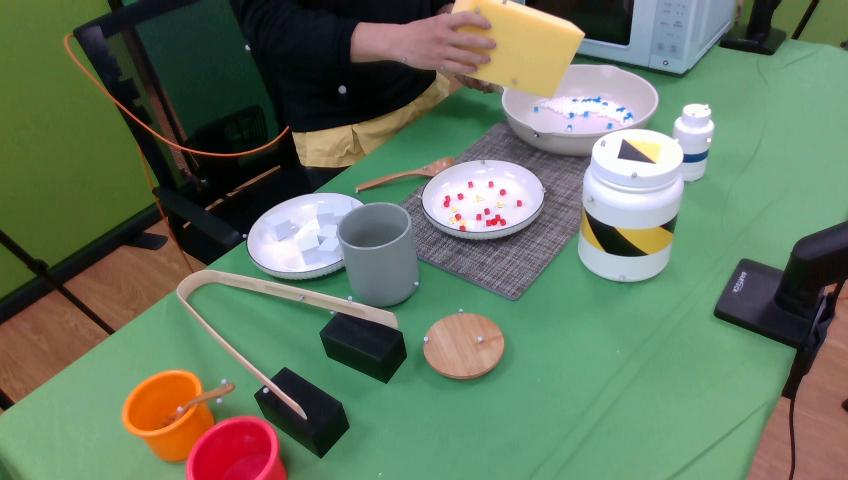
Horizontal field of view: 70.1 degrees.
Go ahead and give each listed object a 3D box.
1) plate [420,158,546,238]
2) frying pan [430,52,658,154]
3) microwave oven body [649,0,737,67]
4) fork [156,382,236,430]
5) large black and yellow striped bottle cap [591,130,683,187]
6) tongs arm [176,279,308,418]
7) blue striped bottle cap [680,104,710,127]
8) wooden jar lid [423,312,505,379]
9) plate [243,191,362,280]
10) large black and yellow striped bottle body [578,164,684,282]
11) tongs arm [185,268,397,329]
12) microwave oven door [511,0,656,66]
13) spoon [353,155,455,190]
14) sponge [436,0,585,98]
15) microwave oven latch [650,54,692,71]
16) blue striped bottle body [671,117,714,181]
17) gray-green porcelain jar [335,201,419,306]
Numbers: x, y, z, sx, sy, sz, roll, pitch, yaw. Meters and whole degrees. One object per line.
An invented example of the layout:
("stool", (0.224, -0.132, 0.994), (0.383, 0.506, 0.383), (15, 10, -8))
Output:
("plate", (0.099, -0.067, 1.017), (0.209, 0.038, 0.208), (-4, 40, 4))
("frying pan", (0.216, -0.302, 1.224), (0.484, 0.103, 0.308), (29, 49, 24))
("microwave oven body", (0.475, -0.602, 1.411), (0.438, 0.261, 0.327), (23, 50, 32))
("fork", (-0.262, 0.189, 0.690), (0.018, 0.206, 0.028), (49, 43, -7))
("large black and yellow striped bottle cap", (0.282, -0.111, 0.803), (0.115, 0.019, 0.114), (-3, 41, 3))
("tongs arm", (-0.255, 0.132, 0.801), (0.028, 0.028, 0.384), (-41, 40, -23))
("blue striped bottle cap", (0.443, -0.205, 0.989), (0.044, 0.021, 0.044), (-1, 41, 2))
("wooden jar lid", (0.053, 0.142, 0.800), (0.108, 0.021, 0.108), (-5, 39, 4))
("plate", (-0.188, -0.005, 0.992), (0.207, 0.039, 0.206), (-4, 41, 4))
("large black and yellow striped bottle body", (0.291, -0.046, 0.859), (0.131, 0.185, 0.130), (-4, 41, 4))
("tongs arm", (-0.202, 0.084, 0.848), (0.382, 0.027, 0.051), (11, 44, 35))
("microwave oven door", (0.351, -0.539, 1.349), (0.353, 0.245, 0.039), (24, 50, 31))
("spoon", (-0.038, -0.123, 1.116), (0.194, 0.022, 0.041), (-12, 58, -4))
("sponge", (0.139, -0.319, 0.982), (0.208, 0.118, 0.060), (9, 34, -23))
("microwave oven latch", (0.531, -0.386, 1.301), (0.078, 0.029, 0.030), (25, 51, 33))
("blue striped bottle body", (0.449, -0.165, 1.022), (0.063, 0.121, 0.063), (-5, 41, 4))
("gray-green porcelain jar", (-0.064, 0.024, 0.872), (0.106, 0.127, 0.105), (-4, 41, 4))
